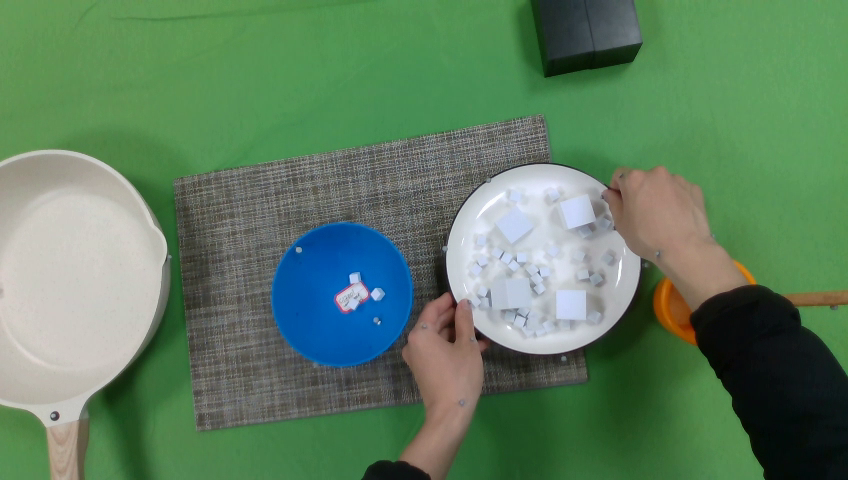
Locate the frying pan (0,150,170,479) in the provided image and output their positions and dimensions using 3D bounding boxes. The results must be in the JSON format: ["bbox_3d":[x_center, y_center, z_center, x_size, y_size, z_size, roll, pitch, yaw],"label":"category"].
[{"bbox_3d":[-0.408,0.142,0.679,0.307,0.103,0.485,-13,75,6],"label":"frying pan"}]

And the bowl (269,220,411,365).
[{"bbox_3d":[-0.083,0.058,0.659,0.151,0.077,0.151,-1,84,6],"label":"bowl"}]

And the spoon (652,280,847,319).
[{"bbox_3d":[0.312,0.055,0.583,0.022,0.193,0.041,0,83,-38],"label":"spoon"}]

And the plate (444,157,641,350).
[{"bbox_3d":[0.126,0.015,0.660,0.207,0.039,0.207,-1,84,6],"label":"plate"}]
